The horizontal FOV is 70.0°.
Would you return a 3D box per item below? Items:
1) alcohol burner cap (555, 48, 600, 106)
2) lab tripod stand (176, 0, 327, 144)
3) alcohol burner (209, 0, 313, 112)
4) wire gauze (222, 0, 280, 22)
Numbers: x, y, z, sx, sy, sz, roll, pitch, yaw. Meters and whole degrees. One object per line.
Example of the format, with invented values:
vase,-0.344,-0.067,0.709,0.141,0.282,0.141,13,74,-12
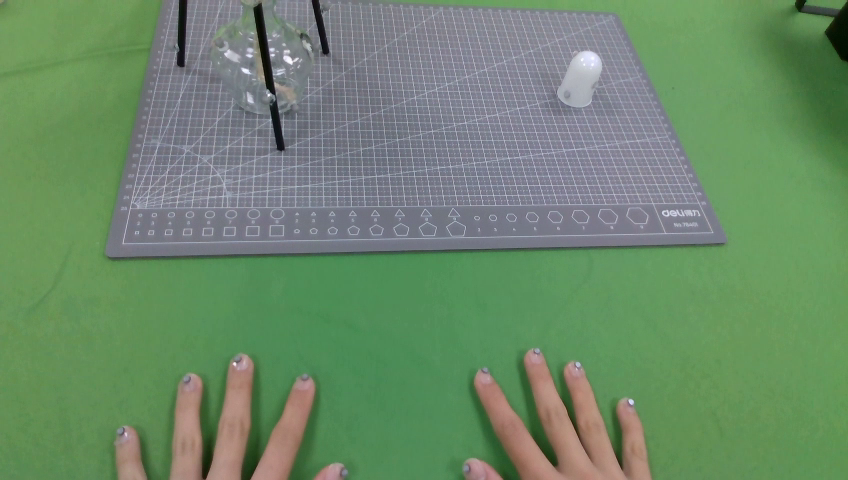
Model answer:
alcohol burner cap,0.138,-0.146,0.535,0.034,0.048,0.033,4,53,-5
lab tripod stand,-0.125,-0.167,0.451,0.149,0.132,0.147,5,54,-7
alcohol burner,-0.123,-0.156,0.456,0.078,0.120,0.077,5,53,-7
wire gauze,-0.119,-0.205,0.398,0.124,0.011,0.121,33,59,9
